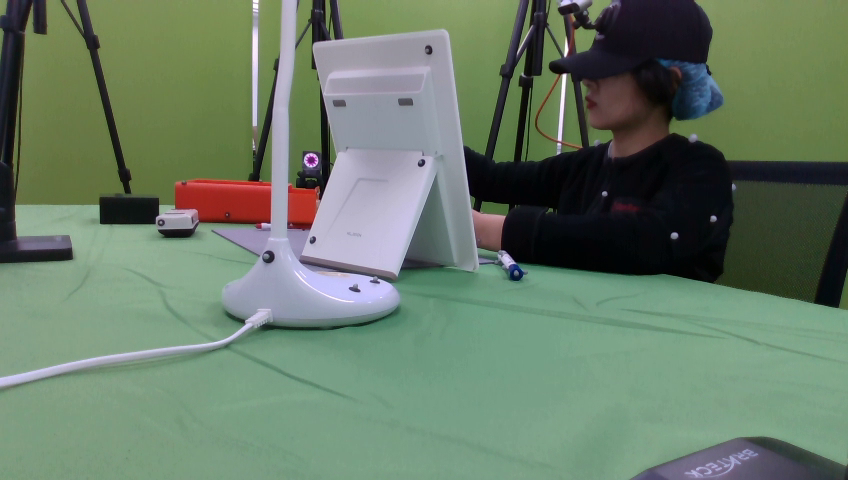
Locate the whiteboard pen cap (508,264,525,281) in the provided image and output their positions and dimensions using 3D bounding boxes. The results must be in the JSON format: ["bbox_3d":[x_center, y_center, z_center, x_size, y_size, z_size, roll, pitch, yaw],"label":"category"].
[{"bbox_3d":[0.115,0.039,0.752,0.018,0.018,0.033,2,9,0],"label":"whiteboard pen cap"}]

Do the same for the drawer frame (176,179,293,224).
[{"bbox_3d":[-0.395,-0.086,1.299,0.214,0.082,0.201,1,8,-9],"label":"drawer frame"}]

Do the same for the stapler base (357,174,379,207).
[{"bbox_3d":[-0.115,-0.106,1.242,0.041,0.024,0.130,-1,-25,-3],"label":"stapler base"}]

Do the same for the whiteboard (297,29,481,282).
[{"bbox_3d":[-0.075,-0.082,0.741,0.216,0.305,0.144,9,29,37],"label":"whiteboard"}]

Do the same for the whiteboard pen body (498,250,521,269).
[{"bbox_3d":[0.116,0.032,0.810,0.017,0.017,0.140,2,8,-1],"label":"whiteboard pen body"}]

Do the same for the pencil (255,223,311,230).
[{"bbox_3d":[-0.216,-0.022,1.133,0.195,0.012,0.012,2,7,-21],"label":"pencil"}]

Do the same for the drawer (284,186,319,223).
[{"bbox_3d":[-0.333,-0.082,1.309,0.212,0.073,0.194,1,8,-8],"label":"drawer"}]

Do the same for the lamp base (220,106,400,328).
[{"bbox_3d":[-0.101,-0.023,0.531,0.160,0.180,0.179,4,10,10],"label":"lamp base"}]

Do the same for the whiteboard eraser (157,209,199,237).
[{"bbox_3d":[-0.411,-0.029,1.016,0.056,0.042,0.112,2,7,-16],"label":"whiteboard eraser"}]

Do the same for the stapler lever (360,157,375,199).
[{"bbox_3d":[-0.117,-0.129,1.254,0.027,0.040,0.118,-1,-26,-3],"label":"stapler lever"}]
